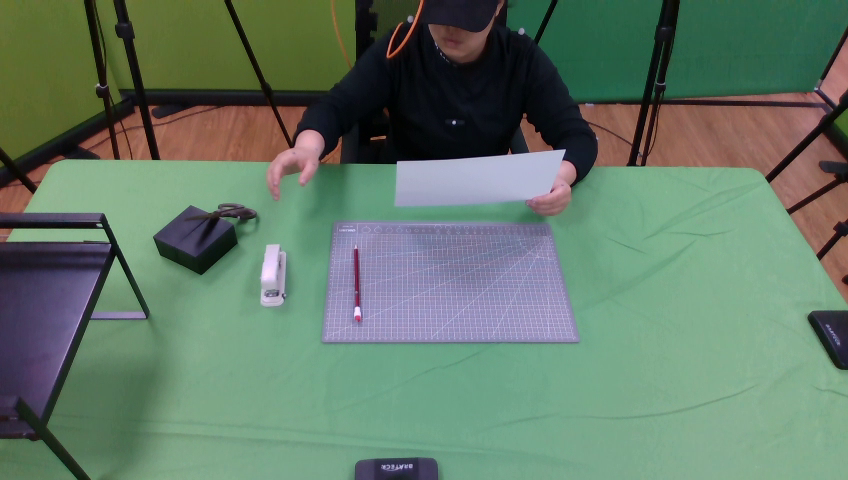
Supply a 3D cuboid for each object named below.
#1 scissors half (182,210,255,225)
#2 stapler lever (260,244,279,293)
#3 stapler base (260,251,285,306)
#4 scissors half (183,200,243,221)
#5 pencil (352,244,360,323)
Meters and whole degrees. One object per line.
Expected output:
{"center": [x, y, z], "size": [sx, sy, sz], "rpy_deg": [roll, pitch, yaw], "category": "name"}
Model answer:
{"center": [-0.389, -0.042, 1.158], "size": [0.040, 0.013, 0.175], "rpy_deg": [42, 22, 21], "category": "scissors half"}
{"center": [-0.279, 0.045, 1.096], "size": [0.027, 0.040, 0.117], "rpy_deg": [-2, 44, -9], "category": "stapler lever"}
{"center": [-0.279, 0.064, 1.113], "size": [0.041, 0.024, 0.129], "rpy_deg": [-1, 44, -9], "category": "stapler base"}
{"center": [-0.405, -0.054, 1.163], "size": [0.040, 0.013, 0.175], "rpy_deg": [30, 19, 6], "category": "scissors half"}
{"center": [-0.127, 0.075, 1.120], "size": [0.012, 0.012, 0.192], "rpy_deg": [-3, 44, -7], "category": "pencil"}
